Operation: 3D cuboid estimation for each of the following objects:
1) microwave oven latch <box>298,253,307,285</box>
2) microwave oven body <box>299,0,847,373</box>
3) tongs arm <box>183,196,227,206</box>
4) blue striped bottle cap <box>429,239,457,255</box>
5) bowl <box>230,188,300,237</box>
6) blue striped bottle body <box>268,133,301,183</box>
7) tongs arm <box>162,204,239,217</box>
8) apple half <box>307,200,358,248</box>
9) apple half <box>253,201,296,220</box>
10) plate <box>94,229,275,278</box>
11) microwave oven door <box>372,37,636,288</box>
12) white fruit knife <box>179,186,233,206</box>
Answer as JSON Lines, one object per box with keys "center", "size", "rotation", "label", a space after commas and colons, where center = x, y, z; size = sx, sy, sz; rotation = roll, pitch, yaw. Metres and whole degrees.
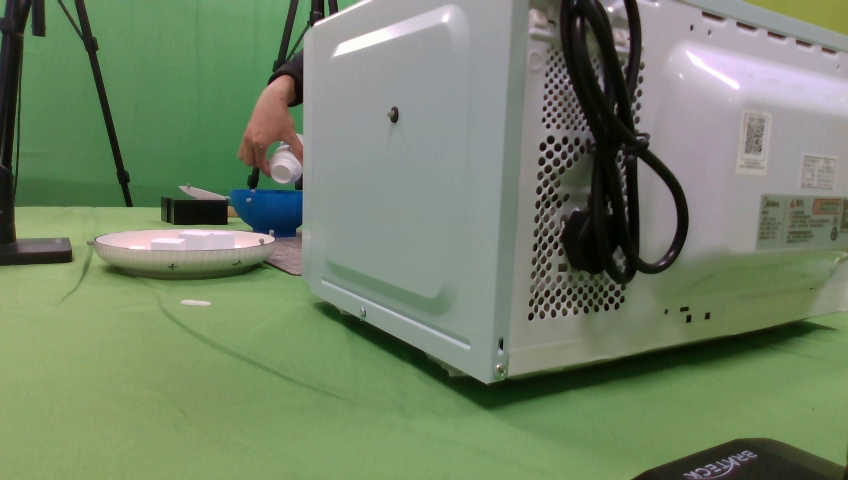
{"center": [-0.081, 0.027, 0.582], "size": [0.079, 0.029, 0.030], "rotation": [-2, 7, -32], "label": "microwave oven latch"}
{"center": [0.152, -0.055, 0.542], "size": [0.444, 0.260, 0.324], "rotation": [-2, 7, -33], "label": "microwave oven body"}
{"center": [-0.404, -0.081, 1.479], "size": [0.385, 0.026, 0.050], "rotation": [3, 8, -2], "label": "tongs arm"}
{"center": [0.029, 0.011, 0.945], "size": [0.044, 0.020, 0.044], "rotation": [1, 6, 0], "label": "blue striped bottle cap"}
{"center": [-0.265, -0.048, 1.066], "size": [0.151, 0.077, 0.151], "rotation": [3, 8, 0], "label": "bowl"}
{"center": [-0.256, -0.152, 1.146], "size": [0.063, 0.063, 0.120], "rotation": [3, 33, 3], "label": "blue striped bottle body"}
{"center": [-0.396, -0.066, 1.399], "size": [0.389, 0.028, 0.028], "rotation": [1, 5, -15], "label": "tongs arm"}
{"center": [-0.135, -0.024, 0.941], "size": [0.053, 0.074, 0.081], "rotation": [13, 9, 39], "label": "apple half"}
{"center": [-0.264, -0.053, 1.067], "size": [0.081, 0.033, 0.081], "rotation": [2, 9, 0], "label": "apple half"}
{"center": [-0.291, 0.016, 0.750], "size": [0.208, 0.039, 0.207], "rotation": [2, 7, 0], "label": "plate"}
{"center": [0.110, -0.080, 0.686], "size": [0.358, 0.243, 0.039], "rotation": [-2, 9, -33], "label": "microwave oven door"}
{"center": [-0.413, -0.081, 1.270], "size": [0.208, 0.027, 0.016], "rotation": [17, 13, -41], "label": "white fruit knife"}
